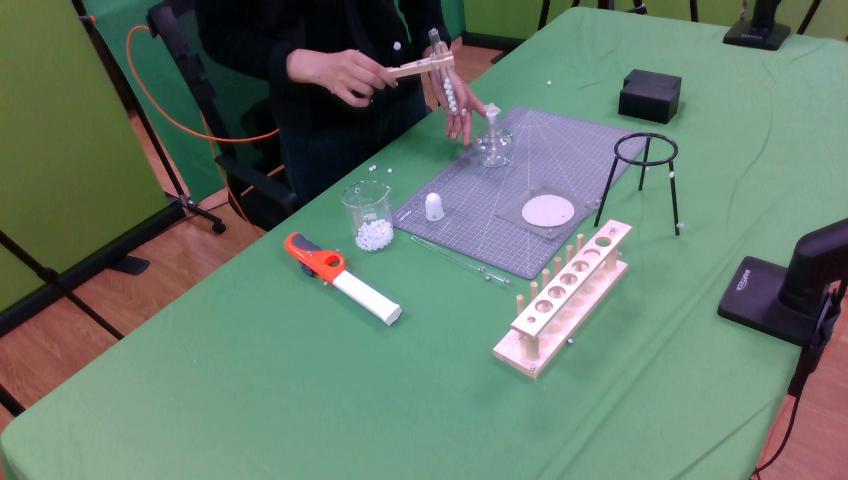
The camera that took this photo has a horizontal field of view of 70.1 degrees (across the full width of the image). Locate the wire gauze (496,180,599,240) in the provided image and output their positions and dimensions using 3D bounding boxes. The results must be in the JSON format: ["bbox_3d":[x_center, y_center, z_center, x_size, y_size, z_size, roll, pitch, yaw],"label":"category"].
[{"bbox_3d":[0.206,-0.050,1.012,0.125,0.011,0.120,-34,45,-26],"label":"wire gauze"}]

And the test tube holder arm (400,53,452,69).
[{"bbox_3d":[0.004,-0.286,0.985,0.088,0.015,0.010,-16,40,0],"label":"test tube holder arm"}]

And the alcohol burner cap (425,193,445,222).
[{"bbox_3d":[0.017,-0.058,1.029,0.034,0.048,0.033,-5,40,5],"label":"alcohol burner cap"}]

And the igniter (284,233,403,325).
[{"bbox_3d":[-0.136,0.054,0.942,0.274,0.025,0.057,29,63,37],"label":"igniter"}]

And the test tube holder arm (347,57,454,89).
[{"bbox_3d":[-0.039,-0.272,0.984,0.178,0.015,0.013,-11,39,6],"label":"test tube holder arm"}]

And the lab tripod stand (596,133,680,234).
[{"bbox_3d":[0.338,-0.091,0.940,0.148,0.132,0.147,-7,39,6],"label":"lab tripod stand"}]

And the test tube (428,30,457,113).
[{"bbox_3d":[0.032,-0.273,0.996,0.017,0.151,0.017,-10,44,11],"label":"test tube"}]

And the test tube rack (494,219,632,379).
[{"bbox_3d":[0.191,0.068,0.818,0.066,0.085,0.243,25,51,35],"label":"test tube rack"}]

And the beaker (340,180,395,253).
[{"bbox_3d":[-0.086,-0.037,0.985,0.084,0.101,0.073,-18,41,-11],"label":"beaker"}]

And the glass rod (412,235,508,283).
[{"bbox_3d":[0.051,0.028,0.952,0.198,0.008,0.008,25,51,37],"label":"glass rod"}]

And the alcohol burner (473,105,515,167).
[{"bbox_3d":[0.128,-0.196,1.116,0.078,0.119,0.077,-4,39,4],"label":"alcohol burner"}]
